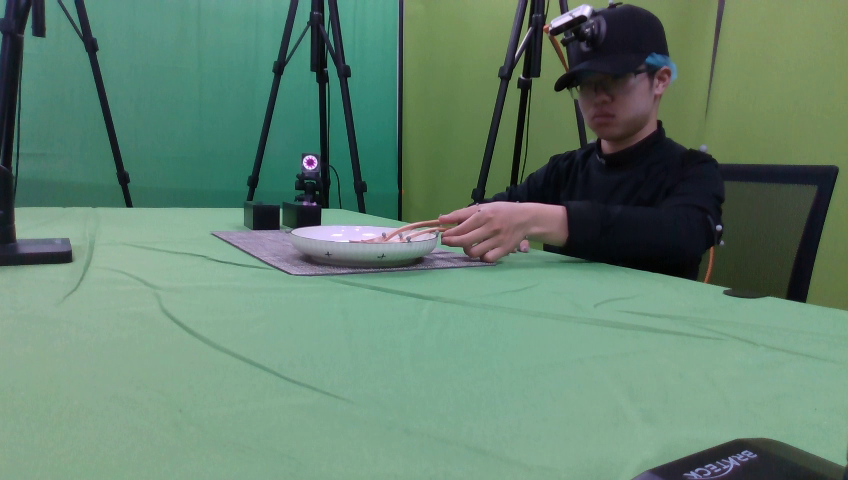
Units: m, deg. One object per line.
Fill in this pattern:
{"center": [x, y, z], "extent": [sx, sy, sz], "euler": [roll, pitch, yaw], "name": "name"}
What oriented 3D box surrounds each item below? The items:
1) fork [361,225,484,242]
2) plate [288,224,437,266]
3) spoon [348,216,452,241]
{"center": [0.003, -0.009, 0.893], "extent": [0.208, 0.018, 0.028], "euler": [-11, 4, -30], "name": "fork"}
{"center": [-0.086, 0.007, 0.852], "extent": [0.208, 0.039, 0.207], "euler": [2, 7, 0], "name": "plate"}
{"center": [-0.030, -0.015, 0.923], "extent": [0.195, 0.021, 0.041], "euler": [-19, 15, -36], "name": "spoon"}
